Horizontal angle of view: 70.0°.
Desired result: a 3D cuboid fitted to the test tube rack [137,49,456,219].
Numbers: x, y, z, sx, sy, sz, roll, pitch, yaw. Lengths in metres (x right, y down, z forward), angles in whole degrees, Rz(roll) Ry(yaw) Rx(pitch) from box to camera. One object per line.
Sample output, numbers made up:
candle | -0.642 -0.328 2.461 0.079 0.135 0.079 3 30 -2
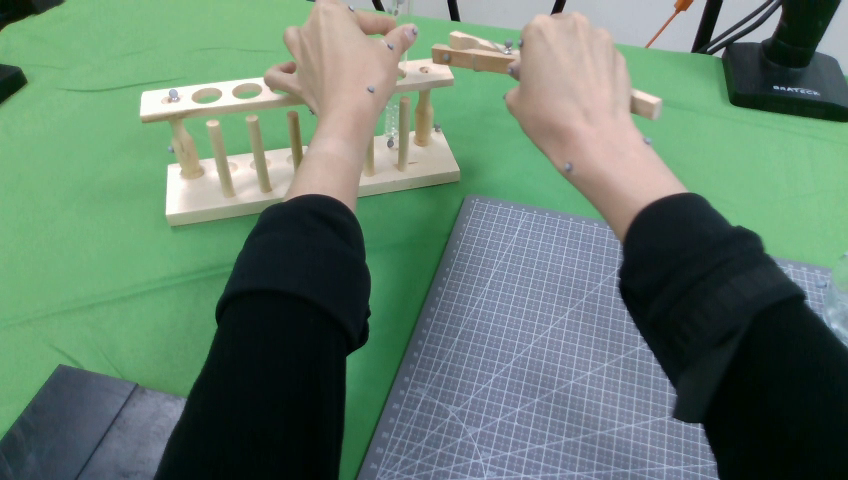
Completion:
test tube rack | -0.096 -0.090 0.501 0.243 0.086 0.066 -10 48 -11

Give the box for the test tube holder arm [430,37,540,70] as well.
test tube holder arm | 0.045 -0.138 0.446 0.087 0.015 0.010 15 50 24

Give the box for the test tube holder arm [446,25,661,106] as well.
test tube holder arm | 0.083 -0.126 0.426 0.177 0.015 0.013 29 58 33

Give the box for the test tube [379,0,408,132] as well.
test tube | -0.025 -0.151 0.489 0.017 0.151 0.017 5 45 -4

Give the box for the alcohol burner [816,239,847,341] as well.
alcohol burner | 0.312 0.017 0.393 0.078 0.120 0.077 2 46 -1
